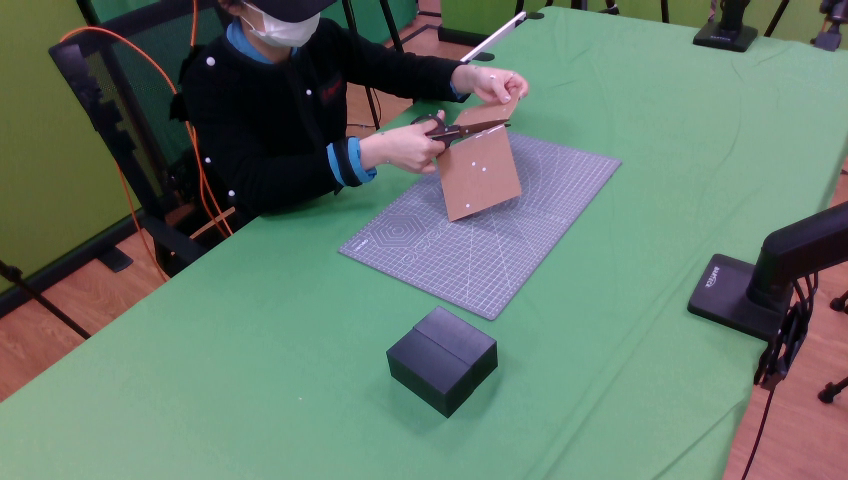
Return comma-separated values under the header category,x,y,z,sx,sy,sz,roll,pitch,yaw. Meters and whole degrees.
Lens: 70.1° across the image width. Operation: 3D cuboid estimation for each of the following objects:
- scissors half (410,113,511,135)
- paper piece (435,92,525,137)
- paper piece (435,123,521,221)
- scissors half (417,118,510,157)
category,x,y,z,sx,sy,sz,roll,pitch,yaw
scissors half,0.059,-0.195,1.019,0.174,0.040,0.013,4,41,14
paper piece,0.103,-0.224,1.084,0.135,0.009,0.138,-5,31,31
paper piece,0.086,-0.114,1.003,0.135,0.004,0.135,-21,66,26
scissors half,0.066,-0.177,1.031,0.174,0.040,0.013,-18,29,28
